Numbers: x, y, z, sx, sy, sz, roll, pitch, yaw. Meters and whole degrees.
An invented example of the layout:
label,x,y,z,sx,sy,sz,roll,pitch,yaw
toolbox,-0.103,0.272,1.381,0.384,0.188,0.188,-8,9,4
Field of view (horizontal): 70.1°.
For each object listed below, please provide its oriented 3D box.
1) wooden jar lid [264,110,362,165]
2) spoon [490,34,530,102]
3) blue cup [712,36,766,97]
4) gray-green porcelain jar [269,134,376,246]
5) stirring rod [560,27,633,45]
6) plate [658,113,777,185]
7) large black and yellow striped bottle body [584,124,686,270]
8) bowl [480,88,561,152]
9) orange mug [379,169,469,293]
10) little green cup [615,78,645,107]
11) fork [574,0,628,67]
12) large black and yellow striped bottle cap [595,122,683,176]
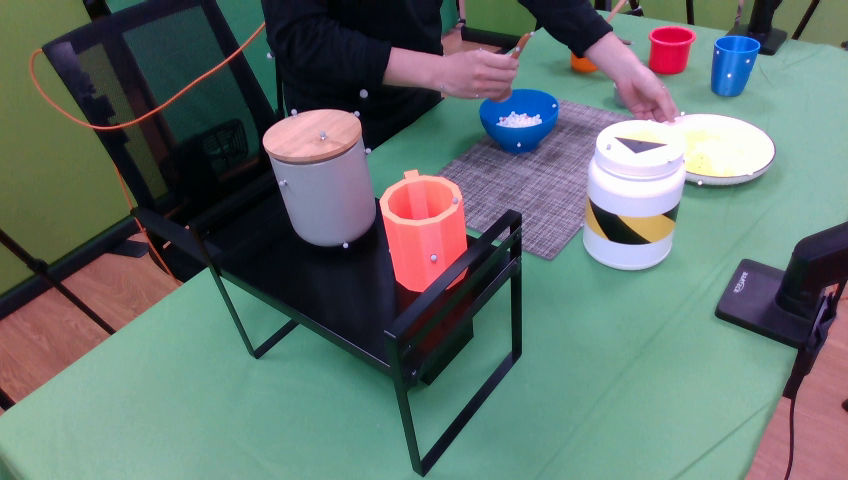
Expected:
label,x,y,z,sx,sy,sz,roll,pitch,yaw
wooden jar lid,-0.122,-0.112,0.673,0.108,0.021,0.108,-4,37,4
spoon,0.144,-0.281,1.007,0.042,0.194,0.021,-7,70,-8
blue cup,0.627,-0.350,1.227,0.092,0.100,0.092,-4,39,4
gray-green porcelain jar,-0.115,-0.064,0.715,0.106,0.127,0.105,-4,40,4
stirring rod,0.381,-0.454,1.344,0.174,0.006,0.014,26,49,33
plate,0.506,-0.158,1.073,0.209,0.038,0.208,-5,41,4
large black and yellow striped bottle body,0.304,-0.063,0.880,0.131,0.185,0.130,-5,41,5
bowl,0.185,-0.222,1.160,0.151,0.077,0.150,-5,40,4
orange mug,-0.002,-0.019,0.665,0.083,0.101,0.125,-12,45,-4
little green cup,0.426,-0.306,1.257,0.061,0.039,0.061,-4,40,4
fork,0.413,-0.481,1.377,0.207,0.019,0.028,-56,43,12
large black and yellow striped bottle cap,0.293,-0.126,0.826,0.115,0.019,0.114,-3,40,3
